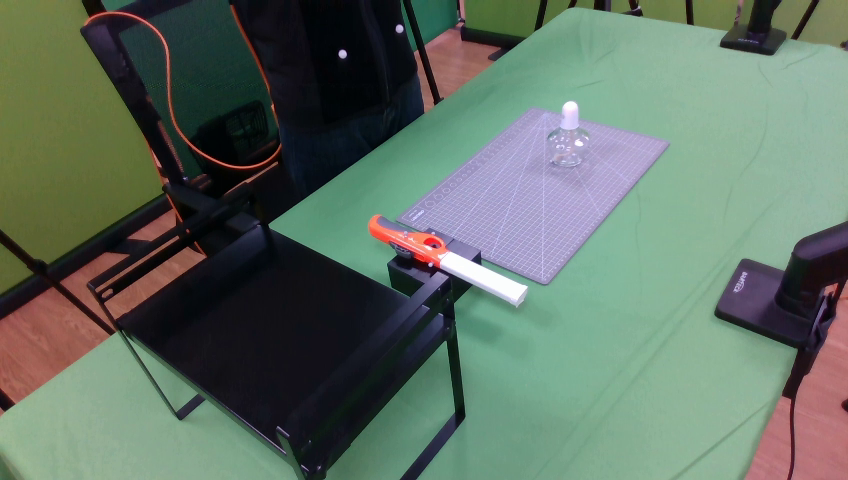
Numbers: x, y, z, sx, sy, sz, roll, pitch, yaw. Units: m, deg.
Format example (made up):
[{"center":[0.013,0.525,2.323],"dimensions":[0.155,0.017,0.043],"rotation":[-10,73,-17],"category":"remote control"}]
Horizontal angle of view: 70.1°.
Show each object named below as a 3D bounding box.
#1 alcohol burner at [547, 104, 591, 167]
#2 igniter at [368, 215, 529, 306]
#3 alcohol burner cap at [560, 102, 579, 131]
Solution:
[{"center":[0.261,-0.192,1.087],"dimensions":[0.078,0.119,0.077],"rotation":[-5,42,5],"category":"alcohol burner"},{"center":[0.024,0.024,0.868],"dimensions":[0.274,0.025,0.057],"rotation":[25,49,28],"category":"igniter"},{"center":[0.256,-0.219,1.064],"dimensions":[0.034,0.048,0.033],"rotation":[-5,34,4],"category":"alcohol burner cap"}]
